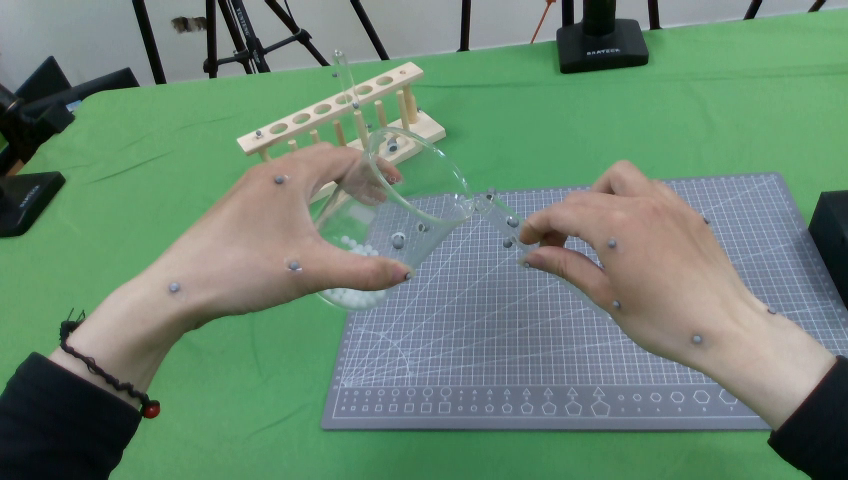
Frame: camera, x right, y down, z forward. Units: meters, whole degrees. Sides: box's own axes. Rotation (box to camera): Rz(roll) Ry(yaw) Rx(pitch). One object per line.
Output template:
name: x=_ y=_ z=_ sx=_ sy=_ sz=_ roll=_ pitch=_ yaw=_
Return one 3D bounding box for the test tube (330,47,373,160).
test tube: x=-0.085 y=-0.158 z=0.719 sx=0.017 sy=0.152 sz=0.017 roll=-7 pitch=44 yaw=7

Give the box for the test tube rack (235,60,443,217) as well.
test tube rack: x=-0.099 y=-0.130 z=0.758 sx=0.242 sy=0.086 sz=0.066 roll=-29 pitch=47 yaw=-16

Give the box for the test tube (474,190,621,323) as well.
test tube: x=0.088 y=0.015 z=0.412 sx=0.017 sy=0.151 sz=0.017 roll=-37 pitch=30 yaw=26

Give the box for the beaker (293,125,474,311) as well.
beaker: x=-0.027 y=-0.008 z=0.374 sx=0.084 sy=0.100 sz=0.073 roll=16 pitch=43 yaw=-36
